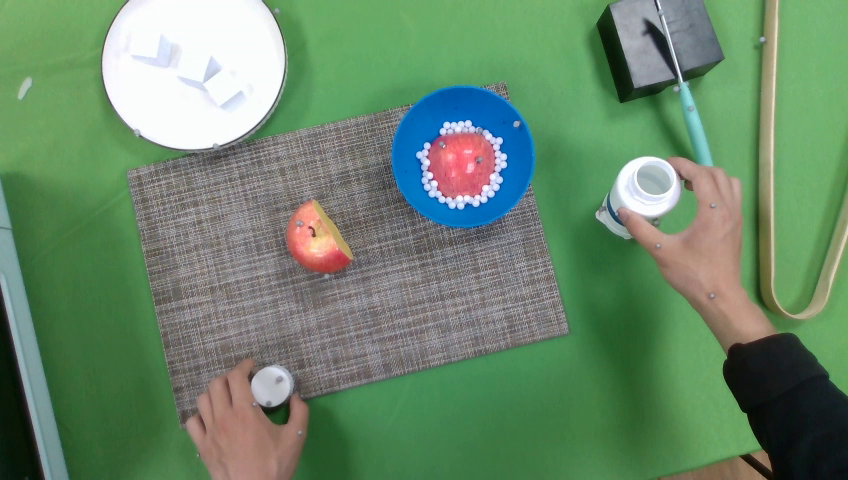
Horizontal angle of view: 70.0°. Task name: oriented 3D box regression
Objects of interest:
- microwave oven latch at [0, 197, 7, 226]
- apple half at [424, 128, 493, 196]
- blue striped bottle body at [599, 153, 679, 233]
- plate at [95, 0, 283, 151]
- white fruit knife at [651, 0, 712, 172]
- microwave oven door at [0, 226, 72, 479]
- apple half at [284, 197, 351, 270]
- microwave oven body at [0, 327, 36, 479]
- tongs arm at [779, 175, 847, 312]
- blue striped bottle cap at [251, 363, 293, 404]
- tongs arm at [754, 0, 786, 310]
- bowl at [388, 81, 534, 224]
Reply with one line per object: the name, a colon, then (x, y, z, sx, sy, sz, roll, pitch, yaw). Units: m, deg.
microwave oven latch: (-0.485, -0.052, 0.663, 0.030, 0.029, 0.079, -15, 87, -2)
apple half: (0.039, -0.087, 0.656, 0.081, 0.033, 0.081, 0, 85, 0)
blue striped bottle body: (0.224, -0.050, 0.631, 0.063, 0.121, 0.063, -1, 78, 6)
plate: (-0.262, -0.201, 0.692, 0.208, 0.039, 0.207, 0, 86, -1)
white fruit knife: (0.281, -0.170, 0.666, 0.016, 0.027, 0.208, -20, 103, 16)
microwave oven door: (-0.429, 0.151, 0.548, 0.039, 0.244, 0.355, -16, 86, -1)
apple half: (-0.121, 0.000, 0.658, 0.053, 0.074, 0.081, -33, 90, 2)
microwave oven body: (-0.582, 0.150, 0.553, 0.326, 0.260, 0.441, -15, 87, -2)
tongs arm: (0.477, -0.099, 0.688, 0.051, 0.026, 0.384, 16, 88, 2)
blue striped bottle cap: (-0.170, 0.160, 0.675, 0.044, 0.020, 0.044, 0, 84, -3)
tongs arm: (0.397, -0.114, 0.693, 0.028, 0.028, 0.386, 3, 87, -2)
bowl: (0.038, -0.087, 0.661, 0.151, 0.077, 0.151, 0, 86, 1)
